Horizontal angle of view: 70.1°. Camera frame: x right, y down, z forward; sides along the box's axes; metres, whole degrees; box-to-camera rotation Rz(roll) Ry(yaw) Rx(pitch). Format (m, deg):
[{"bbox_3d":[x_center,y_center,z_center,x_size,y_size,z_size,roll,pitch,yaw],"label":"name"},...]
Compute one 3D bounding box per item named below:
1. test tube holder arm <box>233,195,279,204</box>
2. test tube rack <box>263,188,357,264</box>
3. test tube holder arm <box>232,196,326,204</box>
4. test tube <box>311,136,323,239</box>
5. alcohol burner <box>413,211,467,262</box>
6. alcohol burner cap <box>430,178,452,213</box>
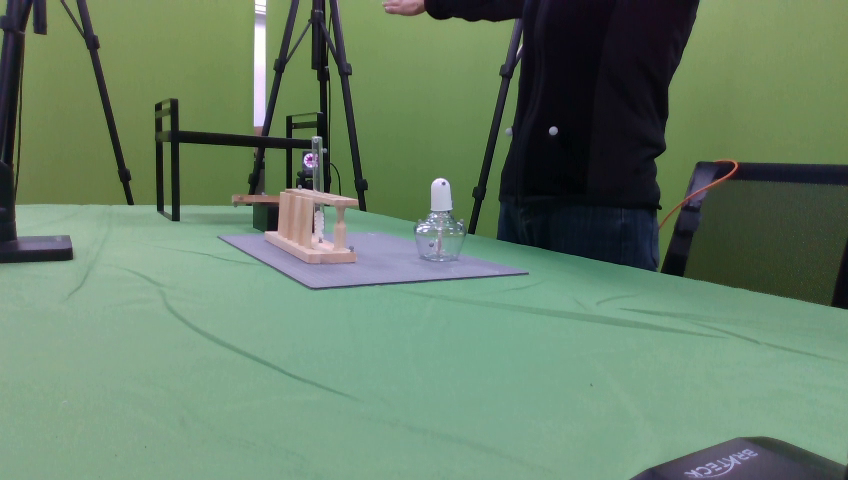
[{"bbox_3d":[-0.307,-0.075,1.117,0.088,0.015,0.010,-1,1,-31],"label":"test tube holder arm"},{"bbox_3d":[-0.175,-0.027,0.890,0.067,0.085,0.241,0,8,-28],"label":"test tube rack"},{"bbox_3d":[-0.271,-0.076,1.145,0.179,0.015,0.013,-1,1,-32],"label":"test tube holder arm"},{"bbox_3d":[-0.155,-0.076,0.879,0.017,0.150,0.017,0,7,0],"label":"test tube"},{"bbox_3d":[0.023,-0.029,0.864,0.078,0.119,0.078,1,6,0],"label":"alcohol burner"},{"bbox_3d":[0.024,-0.064,0.859,0.034,0.048,0.034,-1,12,1],"label":"alcohol burner cap"}]
